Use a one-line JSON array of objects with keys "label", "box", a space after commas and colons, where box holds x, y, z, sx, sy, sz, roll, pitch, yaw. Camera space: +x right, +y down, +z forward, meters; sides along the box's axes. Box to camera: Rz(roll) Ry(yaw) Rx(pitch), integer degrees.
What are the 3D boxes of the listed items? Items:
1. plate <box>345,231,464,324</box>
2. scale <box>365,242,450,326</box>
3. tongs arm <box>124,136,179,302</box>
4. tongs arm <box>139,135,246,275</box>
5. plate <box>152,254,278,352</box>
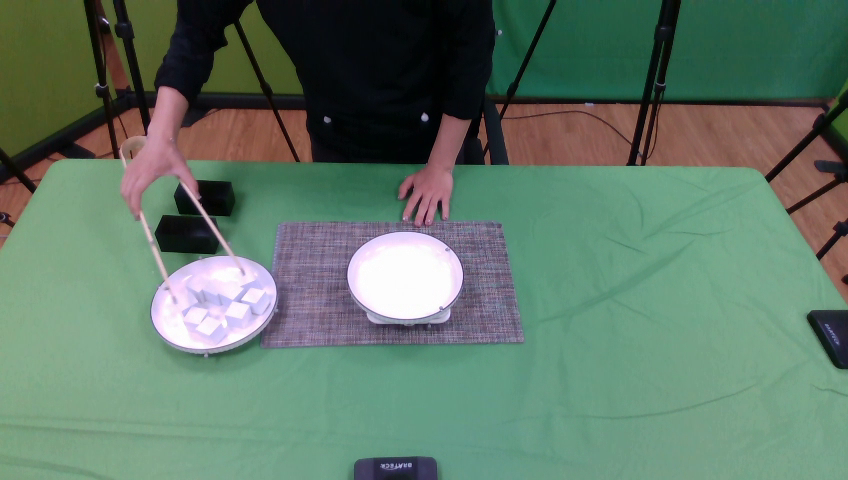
[{"label": "plate", "box": [-0.034, 0.069, 1.069, 0.209, 0.038, 0.208, 2, 46, -2]}, {"label": "scale", "box": [-0.032, 0.071, 1.113, 0.149, 0.032, 0.199, 0, 46, -4]}, {"label": "tongs arm", "box": [-0.475, -0.049, 1.076, 0.051, 0.026, 0.382, -24, 59, -20]}, {"label": "tongs arm", "box": [-0.422, -0.073, 1.099, 0.028, 0.028, 0.385, -33, 63, -20]}, {"label": "plate", "box": [-0.357, 0.111, 1.052, 0.208, 0.039, 0.206, 2, 46, -2]}]
